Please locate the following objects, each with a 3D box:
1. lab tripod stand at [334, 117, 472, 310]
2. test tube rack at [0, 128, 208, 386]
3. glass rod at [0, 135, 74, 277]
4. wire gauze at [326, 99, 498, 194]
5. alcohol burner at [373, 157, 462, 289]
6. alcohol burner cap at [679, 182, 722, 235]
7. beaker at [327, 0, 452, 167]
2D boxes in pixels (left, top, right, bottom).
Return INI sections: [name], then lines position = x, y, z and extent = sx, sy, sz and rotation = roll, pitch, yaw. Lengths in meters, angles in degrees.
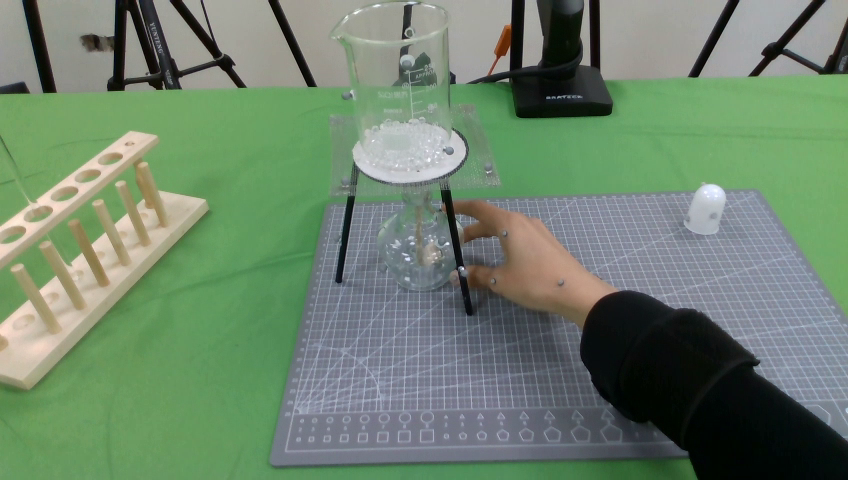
[lab tripod stand]
position = -0.012, -0.023, 0.509
extent = 0.148, 0.133, 0.147
rotation = -2, 43, 2
[test tube rack]
position = -0.300, 0.001, 0.536
extent = 0.066, 0.086, 0.241
rotation = 12, 43, 16
[glass rod]
position = -0.331, -0.049, 0.494
extent = 0.008, 0.201, 0.008
rotation = -5, 34, 4
[wire gauze]
position = -0.014, -0.073, 0.466
extent = 0.125, 0.011, 0.120
rotation = -7, 39, -1
[alcohol burner]
position = -0.006, -0.017, 0.517
extent = 0.078, 0.120, 0.077
rotation = -2, 39, 2
[alcohol burner cap]
position = 0.264, -0.032, 0.576
extent = 0.034, 0.048, 0.033
rotation = -2, 40, 2
[beaker]
position = -0.021, -0.110, 0.434
extent = 0.084, 0.101, 0.073
rotation = -6, 41, -2
